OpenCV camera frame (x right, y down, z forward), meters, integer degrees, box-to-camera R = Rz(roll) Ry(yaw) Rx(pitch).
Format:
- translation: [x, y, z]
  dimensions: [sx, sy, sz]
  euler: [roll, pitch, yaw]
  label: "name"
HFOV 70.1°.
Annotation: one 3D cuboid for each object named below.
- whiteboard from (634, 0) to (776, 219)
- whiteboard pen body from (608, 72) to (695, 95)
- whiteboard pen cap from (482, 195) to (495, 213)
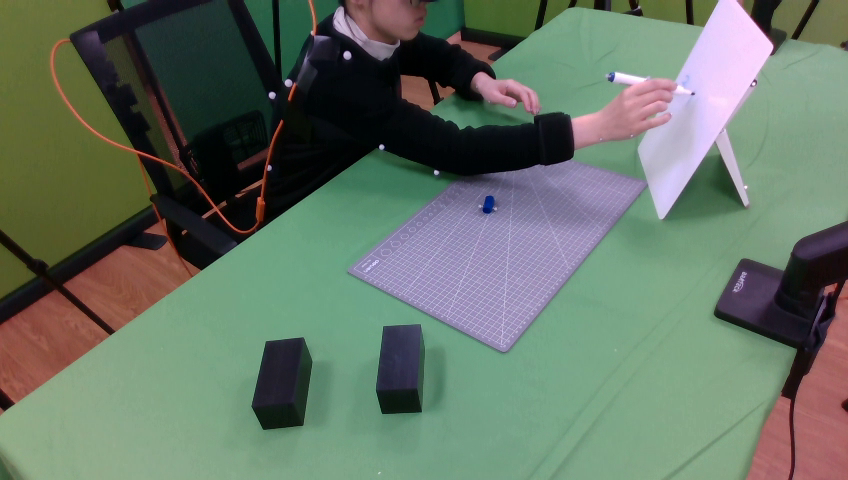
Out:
- translation: [0.485, -0.192, 0.957]
  dimensions: [0.144, 0.305, 0.216]
  euler: [14, 41, -5]
  label: "whiteboard"
- translation: [0.350, -0.238, 0.927]
  dimensions: [0.141, 0.017, 0.017]
  euler: [9, 41, -6]
  label: "whiteboard pen body"
- translation: [0.109, -0.060, 1.028]
  dimensions: [0.018, 0.018, 0.033]
  euler: [6, 44, 15]
  label: "whiteboard pen cap"
